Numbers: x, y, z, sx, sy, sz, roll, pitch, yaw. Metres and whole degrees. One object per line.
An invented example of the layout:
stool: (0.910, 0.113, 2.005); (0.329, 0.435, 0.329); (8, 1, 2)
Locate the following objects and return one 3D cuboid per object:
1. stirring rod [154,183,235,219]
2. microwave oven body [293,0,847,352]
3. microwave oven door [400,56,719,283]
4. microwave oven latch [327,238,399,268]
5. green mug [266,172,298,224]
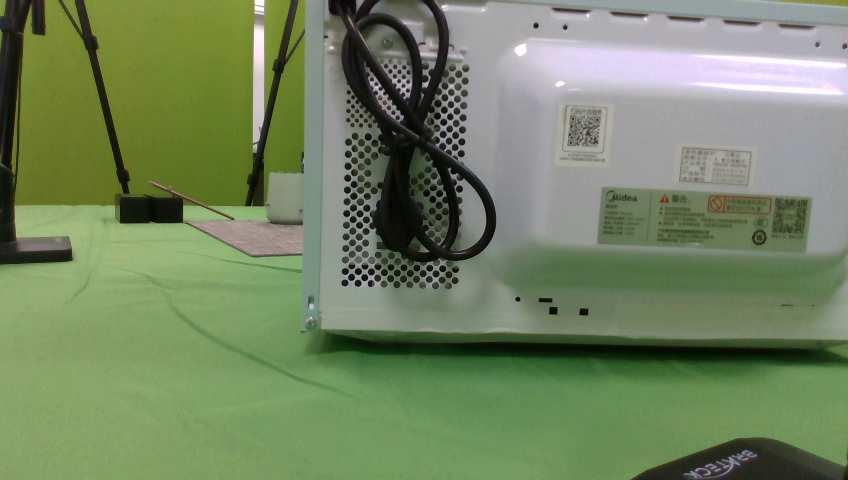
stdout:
stirring rod: (-0.472, -0.079, 1.252); (0.177, 0.006, 0.014); (27, 4, -35)
microwave oven body: (0.122, -0.055, 0.550); (0.442, 0.260, 0.325); (3, 7, -5)
microwave oven door: (0.155, -0.078, 0.697); (0.356, 0.243, 0.039); (2, 8, -5)
microwave oven latch: (-0.069, 0.015, 0.694); (0.079, 0.029, 0.030); (3, 7, -3)
green mug: (-0.272, -0.089, 1.271); (0.092, 0.105, 0.126); (7, 8, 33)
